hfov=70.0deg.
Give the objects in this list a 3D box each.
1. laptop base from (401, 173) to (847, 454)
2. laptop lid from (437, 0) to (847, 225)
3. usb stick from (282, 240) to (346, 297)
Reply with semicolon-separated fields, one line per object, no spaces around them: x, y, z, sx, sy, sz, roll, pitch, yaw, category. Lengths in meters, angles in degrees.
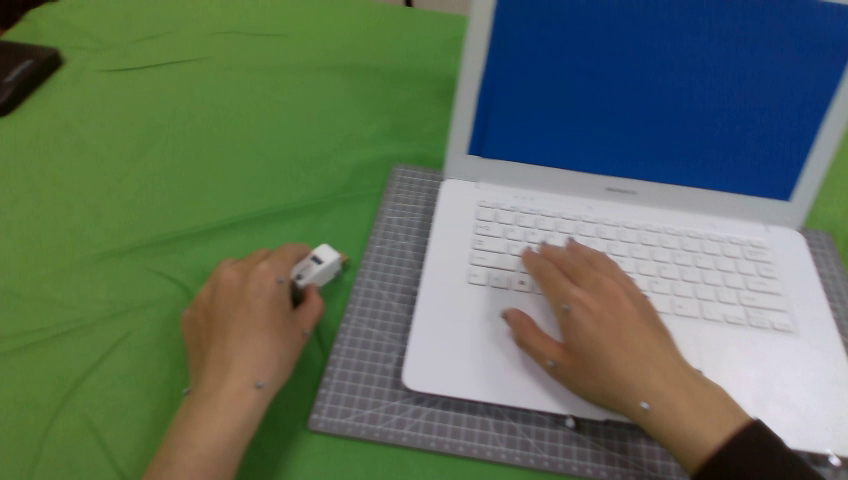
0.170;0.050;0.519;0.354;0.023;0.233;8;50;1;laptop base
0.199;-0.140;0.545;0.357;0.243;0.013;7;26;2;laptop lid
-0.090;0.020;0.512;0.021;0.027;0.059;33;51;26;usb stick
